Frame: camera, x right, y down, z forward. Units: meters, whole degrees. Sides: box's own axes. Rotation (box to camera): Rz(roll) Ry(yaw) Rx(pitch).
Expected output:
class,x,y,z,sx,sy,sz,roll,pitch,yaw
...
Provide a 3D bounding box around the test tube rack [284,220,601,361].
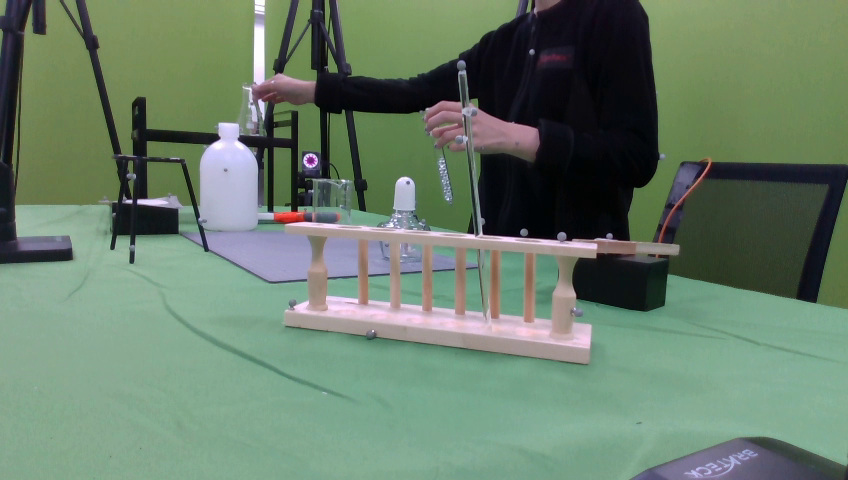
class,x,y,z,sx,sy,sz,roll,pitch,yaw
test tube rack,0.013,0.032,0.482,0.242,0.085,0.067,4,7,16

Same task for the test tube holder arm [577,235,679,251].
class,x,y,z,sx,sy,sz,roll,pitch,yaw
test tube holder arm,0.227,0.004,0.661,0.179,0.015,0.013,1,14,-39

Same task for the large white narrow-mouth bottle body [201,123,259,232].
class,x,y,z,sx,sy,sz,roll,pitch,yaw
large white narrow-mouth bottle body,-0.358,-0.116,1.116,0.102,0.194,0.102,2,8,0

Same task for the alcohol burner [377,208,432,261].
class,x,y,z,sx,sy,sz,roll,pitch,yaw
alcohol burner,-0.027,-0.031,0.838,0.078,0.119,0.078,0,6,0

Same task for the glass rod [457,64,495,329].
class,x,y,z,sx,sy,sz,roll,pitch,yaw
glass rod,0.040,-0.029,0.449,0.008,0.199,0.008,-7,9,1

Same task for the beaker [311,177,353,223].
class,x,y,z,sx,sy,sz,roll,pitch,yaw
beaker,-0.167,-0.064,1.106,0.074,0.100,0.083,-2,9,-27

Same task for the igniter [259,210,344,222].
class,x,y,z,sx,sy,sz,roll,pitch,yaw
igniter,-0.303,-0.049,1.258,0.278,0.025,0.057,-2,-2,-28

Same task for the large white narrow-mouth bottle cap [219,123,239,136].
class,x,y,z,sx,sy,sz,roll,pitch,yaw
large white narrow-mouth bottle cap,-0.356,-0.201,1.104,0.038,0.024,0.037,2,8,0

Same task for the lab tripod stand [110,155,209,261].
class,x,y,z,sx,sy,sz,roll,pitch,yaw
lab tripod stand,-0.361,-0.046,0.806,0.148,0.131,0.148,2,5,0

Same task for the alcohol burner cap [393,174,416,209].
class,x,y,z,sx,sy,sz,roll,pitch,yaw
alcohol burner cap,-0.025,-0.067,0.833,0.034,0.048,0.034,4,12,-1

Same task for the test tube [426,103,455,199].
class,x,y,z,sx,sy,sz,roll,pitch,yaw
test tube,0.026,-0.138,0.943,0.017,0.150,0.017,-12,12,3

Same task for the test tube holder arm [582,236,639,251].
class,x,y,z,sx,sy,sz,roll,pitch,yaw
test tube holder arm,0.194,0.004,0.629,0.088,0.015,0.010,2,13,-38

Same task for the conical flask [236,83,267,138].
class,x,y,z,sx,sy,sz,roll,pitch,yaw
conical flask,-0.400,-0.298,1.395,0.075,0.122,0.075,2,7,0

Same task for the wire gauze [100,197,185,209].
class,x,y,z,sx,sy,sz,roll,pitch,yaw
wire gauze,-0.469,-0.062,1.008,0.126,0.011,0.121,-2,8,-25
